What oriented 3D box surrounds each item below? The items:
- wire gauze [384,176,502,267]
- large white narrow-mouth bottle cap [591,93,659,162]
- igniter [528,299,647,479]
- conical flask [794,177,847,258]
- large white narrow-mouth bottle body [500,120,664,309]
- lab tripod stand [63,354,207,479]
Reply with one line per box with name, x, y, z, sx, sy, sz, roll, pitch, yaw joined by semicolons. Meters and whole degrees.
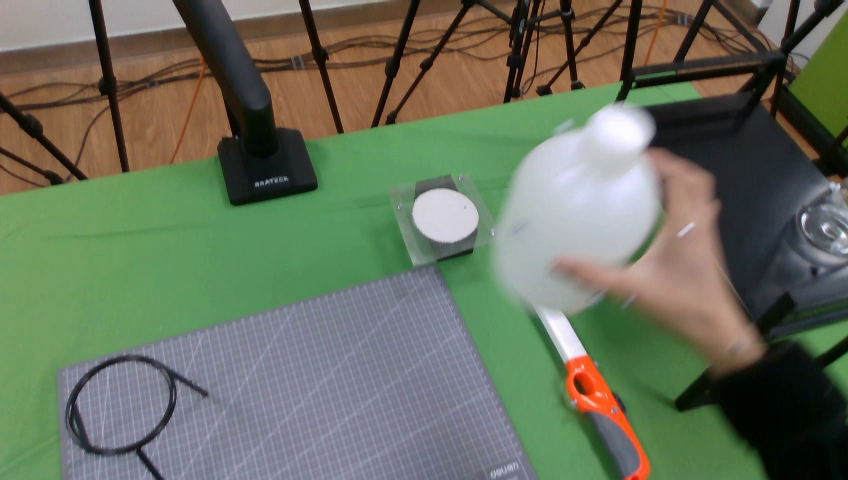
wire gauze;0.023;-0.030;0.775;0.122;0.011;0.124;-13;57;-15
large white narrow-mouth bottle cap;0.123;-0.069;0.373;0.038;0.024;0.037;2;62;-3
igniter;0.180;0.150;0.709;0.057;0.025;0.273;-8;55;-25
conical flask;0.432;-0.043;0.595;0.075;0.123;0.074;3;53;-4
large white narrow-mouth bottle body;0.119;-0.026;0.450;0.102;0.196;0.101;2;62;-3
lab tripod stand;-0.262;0.178;0.570;0.148;0.132;0.147;4;54;-5
